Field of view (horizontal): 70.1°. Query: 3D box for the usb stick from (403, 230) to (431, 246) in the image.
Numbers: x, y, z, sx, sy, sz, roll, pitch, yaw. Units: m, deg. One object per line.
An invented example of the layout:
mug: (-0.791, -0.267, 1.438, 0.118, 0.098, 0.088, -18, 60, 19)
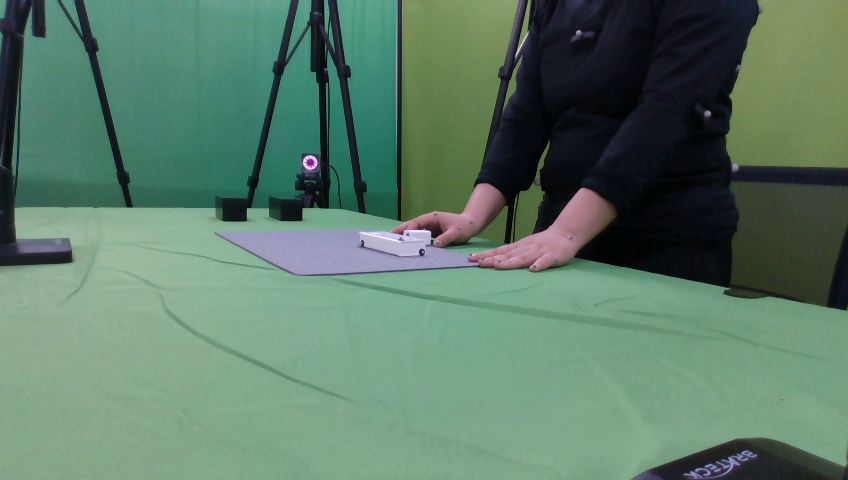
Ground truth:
usb stick: (-0.018, -0.003, 1.020, 0.059, 0.027, 0.021, -7, 13, -35)

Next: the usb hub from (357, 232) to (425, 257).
usb hub: (-0.055, 0.005, 0.947, 0.050, 0.025, 0.124, -3, 8, -36)
